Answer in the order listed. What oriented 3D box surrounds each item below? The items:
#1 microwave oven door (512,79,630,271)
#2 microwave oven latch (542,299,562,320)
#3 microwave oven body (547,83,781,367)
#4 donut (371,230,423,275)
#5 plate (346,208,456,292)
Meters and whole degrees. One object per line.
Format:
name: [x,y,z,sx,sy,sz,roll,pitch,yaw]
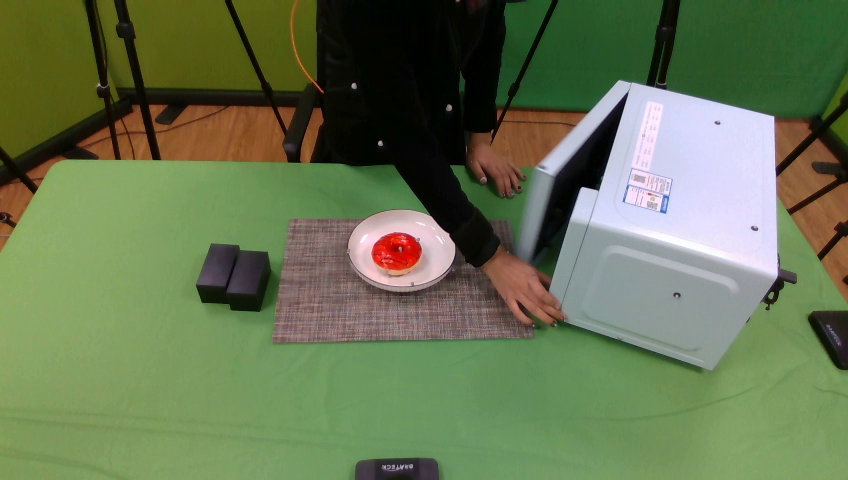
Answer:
microwave oven door: [0.289,-0.131,1.168,0.039,0.245,0.355,29,51,22]
microwave oven latch: [0.246,0.111,1.074,0.079,0.029,0.030,-21,50,-22]
microwave oven body: [0.445,-0.041,1.101,0.325,0.261,0.440,17,47,13]
donut: [-0.050,0.022,1.142,0.099,0.048,0.098,1,46,0]
plate: [-0.044,0.021,1.159,0.209,0.038,0.208,2,46,-2]
